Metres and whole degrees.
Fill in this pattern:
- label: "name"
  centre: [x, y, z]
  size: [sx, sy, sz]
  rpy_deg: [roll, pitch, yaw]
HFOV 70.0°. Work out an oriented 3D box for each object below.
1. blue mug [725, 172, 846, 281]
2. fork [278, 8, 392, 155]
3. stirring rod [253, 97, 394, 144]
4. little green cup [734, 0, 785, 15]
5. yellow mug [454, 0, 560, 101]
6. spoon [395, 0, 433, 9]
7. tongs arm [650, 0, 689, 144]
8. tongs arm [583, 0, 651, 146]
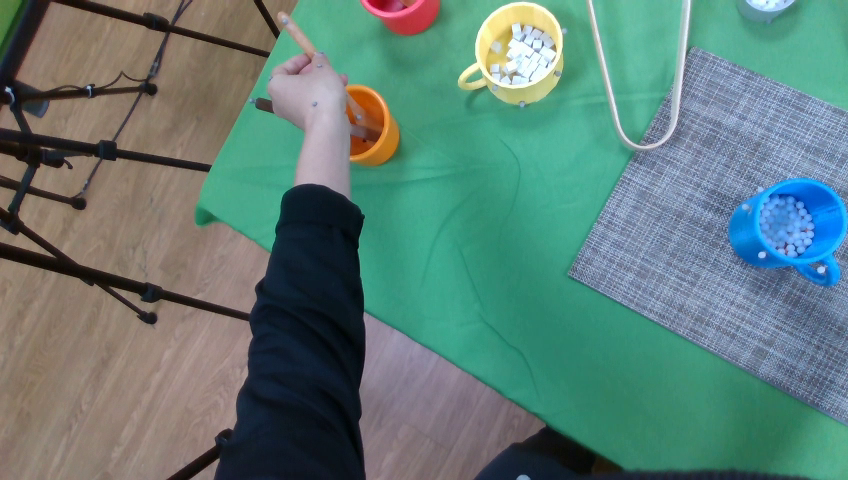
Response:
- label: "blue mug"
  centre: [0.376, -0.007, 0.621]
  size: [0.082, 0.106, 0.116]
  rpy_deg: [-36, 80, 9]
- label: "fork"
  centre: [-0.103, -0.184, 0.719]
  size: [0.028, 0.209, 0.018]
  rpy_deg: [-39, 34, -1]
- label: "stirring rod"
  centre: [-0.117, -0.143, 0.728]
  size: [0.177, 0.006, 0.014]
  rpy_deg: [11, 81, -27]
- label: "little green cup"
  centre: [0.377, -0.283, 0.674]
  size: [0.061, 0.039, 0.061]
  rpy_deg: [-1, 88, 13]
- label: "yellow mug"
  centre: [0.096, -0.217, 0.722]
  size: [0.131, 0.064, 0.099]
  rpy_deg: [-24, 82, 12]
- label: "spoon"
  centre: [-0.076, -0.316, 0.727]
  size: [0.195, 0.021, 0.041]
  rpy_deg: [5, 86, -31]
- label: "tongs arm"
  centre: [0.284, -0.303, 0.680]
  size: [0.028, 0.028, 0.387]
  rpy_deg: [4, 94, 5]
- label: "tongs arm"
  centre: [0.202, -0.295, 0.696]
  size: [0.050, 0.026, 0.384]
  rpy_deg: [-10, 92, 9]
